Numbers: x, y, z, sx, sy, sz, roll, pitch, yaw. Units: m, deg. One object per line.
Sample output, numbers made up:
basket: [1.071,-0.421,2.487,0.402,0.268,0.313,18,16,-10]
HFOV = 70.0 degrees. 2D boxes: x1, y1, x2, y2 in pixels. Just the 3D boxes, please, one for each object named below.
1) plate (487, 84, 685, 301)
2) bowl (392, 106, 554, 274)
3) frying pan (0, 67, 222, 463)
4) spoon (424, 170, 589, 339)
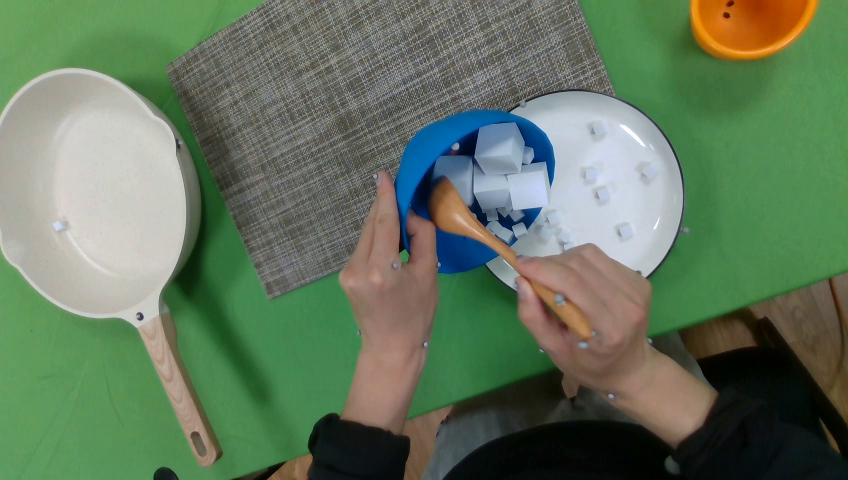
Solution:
plate: [0.141,-0.045,0.590,0.207,0.039,0.208,3,103,16]
bowl: [0.028,-0.054,0.518,0.076,0.153,0.152,47,113,40]
frying pan: [-0.351,0.037,0.723,0.306,0.103,0.486,-27,83,20]
spoon: [0.052,0.005,0.436,0.191,0.022,0.042,43,126,38]
